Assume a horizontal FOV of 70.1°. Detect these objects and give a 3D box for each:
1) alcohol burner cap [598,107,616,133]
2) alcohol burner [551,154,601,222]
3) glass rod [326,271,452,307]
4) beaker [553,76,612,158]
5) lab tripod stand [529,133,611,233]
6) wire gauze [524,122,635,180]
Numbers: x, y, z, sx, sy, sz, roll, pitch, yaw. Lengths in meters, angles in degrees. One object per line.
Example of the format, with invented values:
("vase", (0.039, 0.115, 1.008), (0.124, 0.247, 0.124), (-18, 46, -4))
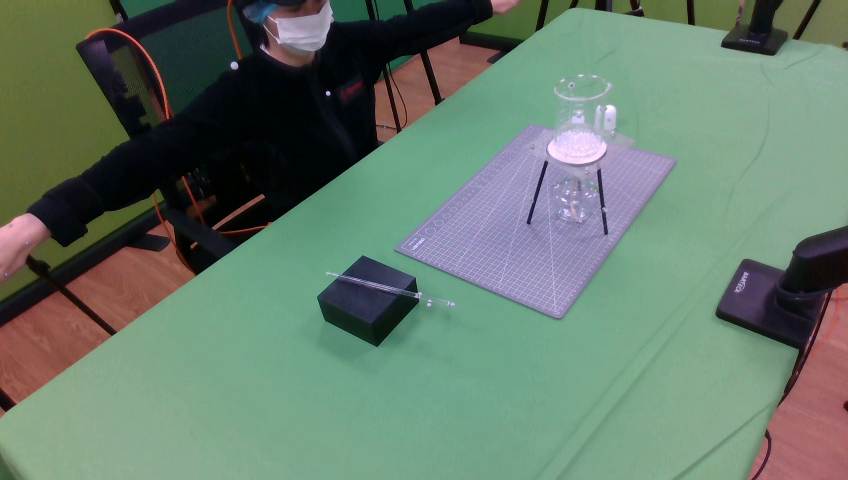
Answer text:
("alcohol burner cap", (0.361, -0.239, 1.189), (0.034, 0.048, 0.033), (-4, 40, 4))
("alcohol burner", (0.244, -0.088, 0.966), (0.078, 0.119, 0.077), (-3, 40, 3))
("glass rod", (-0.053, 0.068, 0.839), (0.198, 0.008, 0.008), (12, 44, 23))
("beaker", (0.230, -0.178, 0.882), (0.084, 0.101, 0.073), (-9, 41, 1))
("lab tripod stand", (0.236, -0.089, 0.952), (0.148, 0.132, 0.147), (-5, 41, 5))
("wire gauze", (0.233, -0.142, 0.913), (0.122, 0.011, 0.124), (-31, 42, -26))
